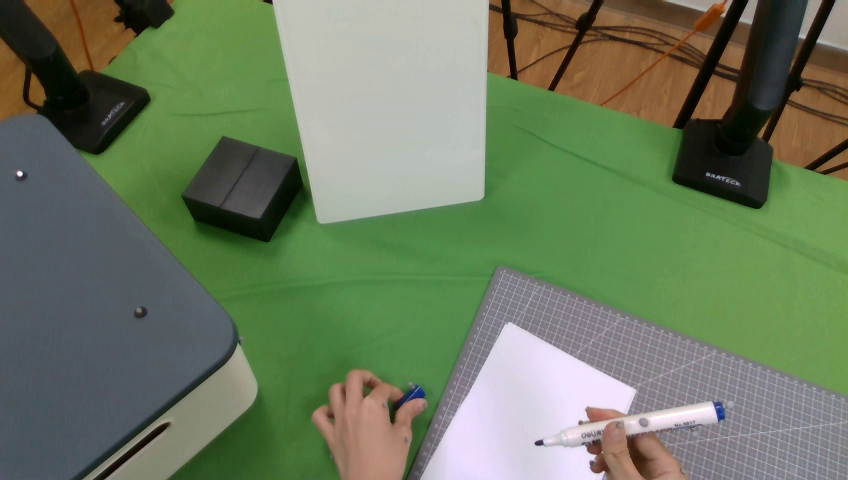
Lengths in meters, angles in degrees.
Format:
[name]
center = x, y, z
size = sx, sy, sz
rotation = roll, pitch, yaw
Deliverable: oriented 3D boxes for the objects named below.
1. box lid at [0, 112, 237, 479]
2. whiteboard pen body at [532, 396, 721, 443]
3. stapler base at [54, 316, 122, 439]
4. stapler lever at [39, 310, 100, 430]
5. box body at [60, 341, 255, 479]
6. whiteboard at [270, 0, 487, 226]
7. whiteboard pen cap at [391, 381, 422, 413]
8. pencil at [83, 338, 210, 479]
[box lid]
center = -0.369, 0.047, 0.521
size = 0.369, 0.015, 0.263
rotation = 40, 65, 19
[whiteboard pen body]
center = 0.149, 0.138, 0.457
size = 0.140, 0.017, 0.017
rotation = -16, 56, 17
[stapler base]
center = -0.351, 0.136, 0.624
size = 0.041, 0.025, 0.129
rotation = -6, 61, 16
[stapler lever]
center = -0.356, 0.126, 0.604
size = 0.027, 0.040, 0.117
rotation = -7, 59, 17
[box body]
center = -0.369, 0.087, 0.584
size = 0.361, 0.161, 0.254
rotation = 40, 65, 20
[whiteboard]
center = -0.050, -0.195, 0.724
size = 0.217, 0.308, 0.142
rotation = -9, 40, -7
[whiteboard pen cap]
center = -0.018, 0.164, 0.636
size = 0.033, 0.018, 0.018
rotation = -39, 66, -12
[pencil]
center = -0.282, 0.174, 0.614
size = 0.012, 0.012, 0.193
rotation = 23, 50, 12
